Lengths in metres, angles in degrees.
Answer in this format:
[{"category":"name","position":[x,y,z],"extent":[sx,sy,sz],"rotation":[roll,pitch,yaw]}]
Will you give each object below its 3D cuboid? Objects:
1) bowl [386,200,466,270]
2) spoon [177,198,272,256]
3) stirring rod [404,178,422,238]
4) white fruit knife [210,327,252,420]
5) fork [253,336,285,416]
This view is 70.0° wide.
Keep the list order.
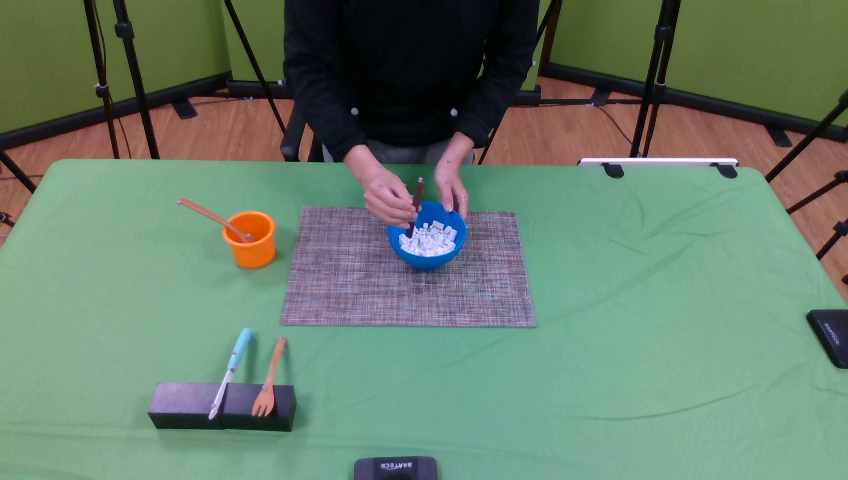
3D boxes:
[{"category":"bowl","position":[0.001,0.003,1.150],"extent":[0.151,0.077,0.150],"rotation":[2,46,-2]},{"category":"spoon","position":[-0.361,-0.025,1.107],"extent":[0.021,0.195,0.041],"rotation":[-31,37,29]},{"category":"stirring rod","position":[-0.020,-0.052,1.050],"extent":[0.014,0.177,0.006],"rotation":[26,59,7]},{"category":"white fruit knife","position":[-0.298,0.200,0.937],"extent":[0.016,0.027,0.206],"rotation":[-1,30,0]},{"category":"fork","position":[-0.235,0.206,0.938],"extent":[0.028,0.019,0.206],"rotation":[-3,26,-3]}]
